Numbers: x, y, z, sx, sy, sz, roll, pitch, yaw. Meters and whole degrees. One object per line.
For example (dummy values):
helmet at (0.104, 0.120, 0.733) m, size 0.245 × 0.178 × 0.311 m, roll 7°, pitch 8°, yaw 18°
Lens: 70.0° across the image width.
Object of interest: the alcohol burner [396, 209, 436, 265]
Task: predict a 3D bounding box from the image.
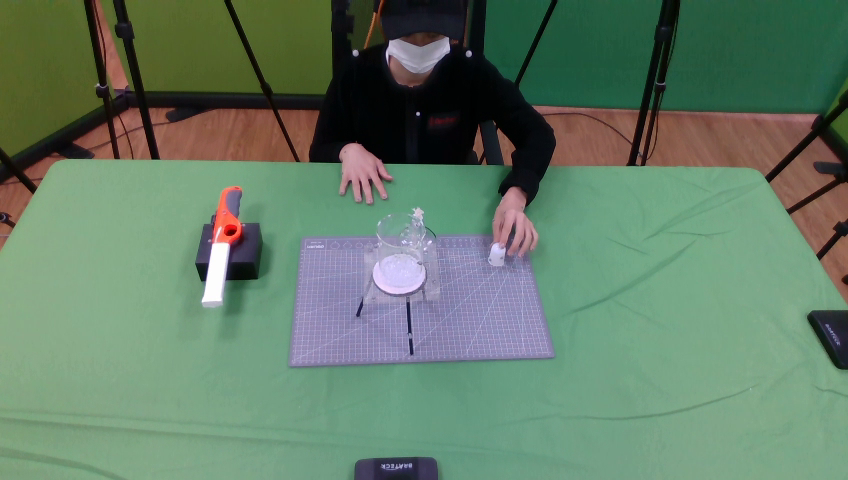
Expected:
alcohol burner at (-0.015, -0.011, 1.141) m, size 0.078 × 0.120 × 0.077 m, roll 2°, pitch 44°, yaw -1°

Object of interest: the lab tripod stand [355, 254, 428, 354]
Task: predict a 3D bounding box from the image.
lab tripod stand at (-0.046, 0.100, 1.017) m, size 0.148 × 0.132 × 0.147 m, roll 1°, pitch 47°, yaw -1°

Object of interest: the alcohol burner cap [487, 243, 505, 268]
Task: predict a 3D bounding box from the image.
alcohol burner cap at (0.141, 0.027, 1.167) m, size 0.034 × 0.048 × 0.033 m, roll 3°, pitch 46°, yaw -3°

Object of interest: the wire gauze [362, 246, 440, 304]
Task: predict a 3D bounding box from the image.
wire gauze at (-0.038, 0.052, 0.972) m, size 0.121 × 0.011 × 0.124 m, roll 0°, pitch 44°, yaw -5°

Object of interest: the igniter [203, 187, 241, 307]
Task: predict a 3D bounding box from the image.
igniter at (-0.365, 0.003, 1.098) m, size 0.057 × 0.025 × 0.274 m, roll -1°, pitch 49°, yaw -7°

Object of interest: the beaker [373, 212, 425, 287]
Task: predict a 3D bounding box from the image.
beaker at (-0.036, 0.019, 0.936) m, size 0.074 × 0.101 × 0.083 m, roll -29°, pitch 54°, yaw -26°
